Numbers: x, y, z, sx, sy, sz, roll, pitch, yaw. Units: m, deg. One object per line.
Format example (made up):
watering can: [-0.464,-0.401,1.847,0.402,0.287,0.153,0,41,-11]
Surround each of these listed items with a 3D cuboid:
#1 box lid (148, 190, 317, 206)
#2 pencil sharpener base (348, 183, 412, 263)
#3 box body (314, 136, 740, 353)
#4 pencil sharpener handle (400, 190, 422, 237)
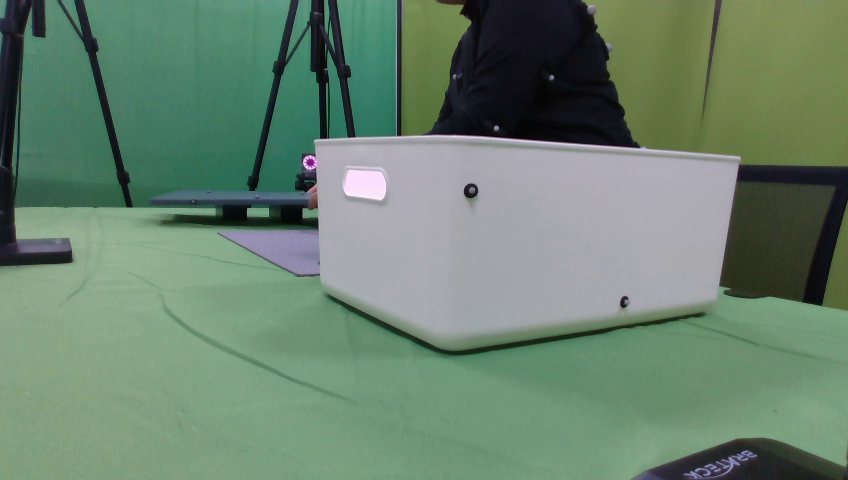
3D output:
box lid: [-0.372,-0.090,1.303,0.372,0.015,0.262,0,8,-10]
pencil sharpener base: [-0.059,-0.024,0.845,0.077,0.107,0.061,-1,7,-30]
box body: [0.097,-0.012,0.605,0.366,0.160,0.253,-2,8,-33]
pencil sharpener handle: [-0.015,-0.037,0.872,0.031,0.067,0.036,-1,15,-30]
